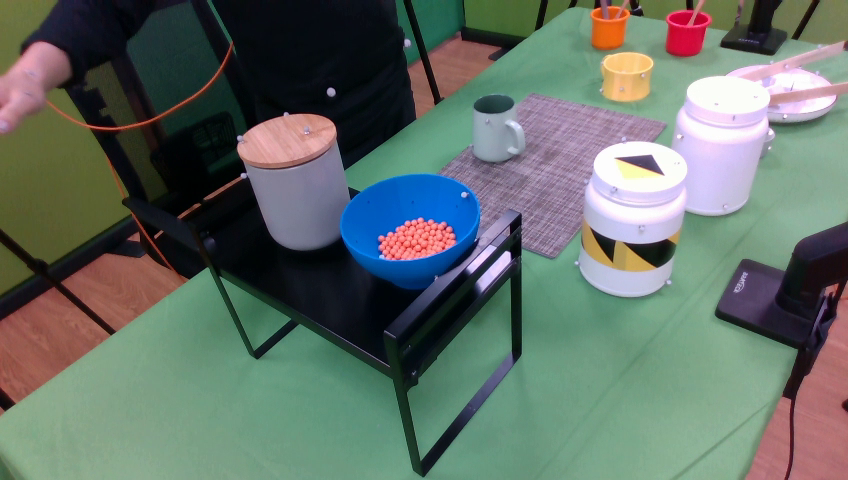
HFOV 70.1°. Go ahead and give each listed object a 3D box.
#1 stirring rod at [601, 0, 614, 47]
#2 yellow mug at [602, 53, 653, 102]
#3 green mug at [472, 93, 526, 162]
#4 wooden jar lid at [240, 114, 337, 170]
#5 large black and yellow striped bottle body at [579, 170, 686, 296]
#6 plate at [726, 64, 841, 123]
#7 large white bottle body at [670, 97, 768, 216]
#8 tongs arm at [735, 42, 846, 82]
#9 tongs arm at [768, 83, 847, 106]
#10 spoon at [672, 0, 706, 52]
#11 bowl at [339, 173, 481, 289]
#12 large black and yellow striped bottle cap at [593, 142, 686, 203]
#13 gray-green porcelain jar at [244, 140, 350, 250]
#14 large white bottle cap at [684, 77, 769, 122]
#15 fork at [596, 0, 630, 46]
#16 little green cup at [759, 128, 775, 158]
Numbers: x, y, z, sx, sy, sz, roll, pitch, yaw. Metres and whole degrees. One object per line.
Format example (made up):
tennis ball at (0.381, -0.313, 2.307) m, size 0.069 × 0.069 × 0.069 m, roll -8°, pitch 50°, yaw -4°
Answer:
stirring rod at (0.439, -0.552, 1.463) m, size 0.014 × 0.006 × 0.175 m, roll -7°, pitch 83°, yaw 3°
yellow mug at (0.423, -0.354, 1.292) m, size 0.100 × 0.064 × 0.129 m, roll -23°, pitch 42°, yaw -16°
green mug at (0.144, -0.202, 1.122) m, size 0.093 × 0.105 × 0.124 m, roll -29°, pitch 45°, yaw -23°
wooden jar lid at (-0.149, -0.106, 0.673) m, size 0.108 × 0.021 × 0.108 m, roll -6°, pitch 39°, yaw 5°
large black and yellow striped bottle body at (0.287, -0.027, 0.842) m, size 0.131 × 0.185 × 0.130 m, roll -4°, pitch 41°, yaw 4°
plate at (0.694, -0.282, 1.189) m, size 0.207 × 0.039 × 0.206 m, roll -4°, pitch 40°, yaw 4°
large white bottle body at (0.458, -0.146, 0.952) m, size 0.130 × 0.185 × 0.130 m, roll -4°, pitch 40°, yaw 4°
tongs arm at (0.708, -0.331, 1.193) m, size 0.386 × 0.026 × 0.050 m, roll -18°, pitch 45°, yaw -15°
tongs arm at (0.734, -0.280, 1.133) m, size 0.388 × 0.028 × 0.028 m, roll -9°, pitch 47°, yaw -5°
spoon at (0.629, -0.520, 1.394) m, size 0.041 × 0.022 × 0.193 m, roll 29°, pitch 97°, yaw 34°
bowl at (-0.011, 0.001, 0.660) m, size 0.151 × 0.077 × 0.150 m, roll -5°, pitch 41°, yaw 5°
large black and yellow striped bottle cap at (0.280, -0.090, 0.786) m, size 0.115 × 0.019 × 0.114 m, roll -5°, pitch 41°, yaw 5°
gray-green porcelain jar at (-0.144, -0.060, 0.714) m, size 0.106 × 0.127 × 0.105 m, roll -4°, pitch 41°, yaw 4°
large white bottle cap at (0.448, -0.209, 0.898) m, size 0.115 × 0.018 × 0.114 m, roll -4°, pitch 40°, yaw 4°
fork at (0.481, -0.556, 1.452) m, size 0.028 × 0.019 × 0.207 m, roll 40°, pitch 103°, yaw 38°
little green cup at (0.588, -0.175, 1.080) m, size 0.061 × 0.039 × 0.061 m, roll -5°, pitch 40°, yaw 5°
